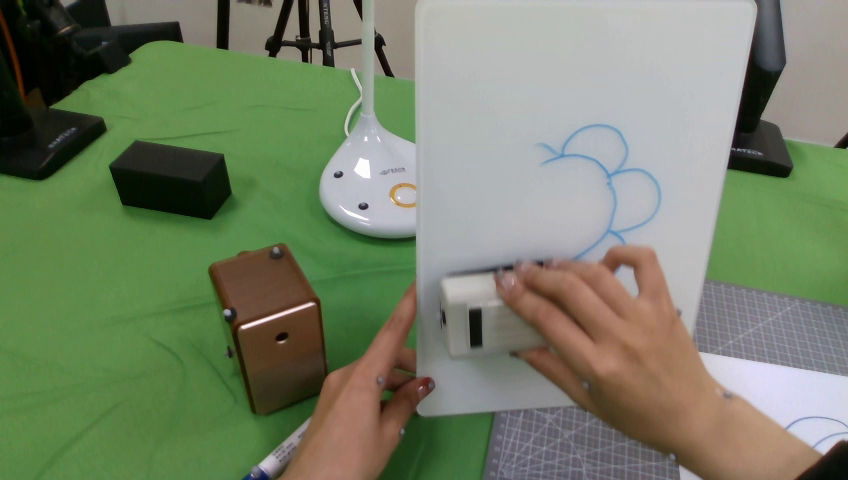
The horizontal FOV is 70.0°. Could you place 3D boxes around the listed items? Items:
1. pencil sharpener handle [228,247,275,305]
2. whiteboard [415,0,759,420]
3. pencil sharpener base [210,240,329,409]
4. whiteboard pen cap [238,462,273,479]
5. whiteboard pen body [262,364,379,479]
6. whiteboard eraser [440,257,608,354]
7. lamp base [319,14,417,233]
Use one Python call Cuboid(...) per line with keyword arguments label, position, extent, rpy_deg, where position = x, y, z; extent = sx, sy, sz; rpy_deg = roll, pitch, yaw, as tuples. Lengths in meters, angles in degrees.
Cuboid(label="pencil sharpener handle", position=(-0.139, 0.024, 0.488), extent=(0.036, 0.068, 0.030), rpy_deg=(-24, 48, -17))
Cuboid(label="whiteboard", position=(0.096, -0.033, 0.483), extent=(0.217, 0.307, 0.142), rpy_deg=(-2, 23, -5))
Cuboid(label="pencil sharpener base", position=(-0.117, 0.064, 0.464), extent=(0.061, 0.108, 0.076), rpy_deg=(-19, 46, -23))
Cuboid(label="whiteboard pen cap", position=(-0.117, 0.165, 0.406), extent=(0.018, 0.018, 0.033), rpy_deg=(29, 43, 26))
Cuboid(label="whiteboard pen body", position=(-0.082, 0.138, 0.447), extent=(0.017, 0.017, 0.140), rpy_deg=(27, 44, 25))
Cuboid(label="whiteboard eraser", position=(0.068, 0.043, 0.419), extent=(0.113, 0.056, 0.041), rpy_deg=(-6, 23, -5))
Cuboid(label="lamp base", position=(-0.038, -0.126, 0.626), extent=(0.161, 0.182, 0.177), rpy_deg=(-23, 46, -26))
